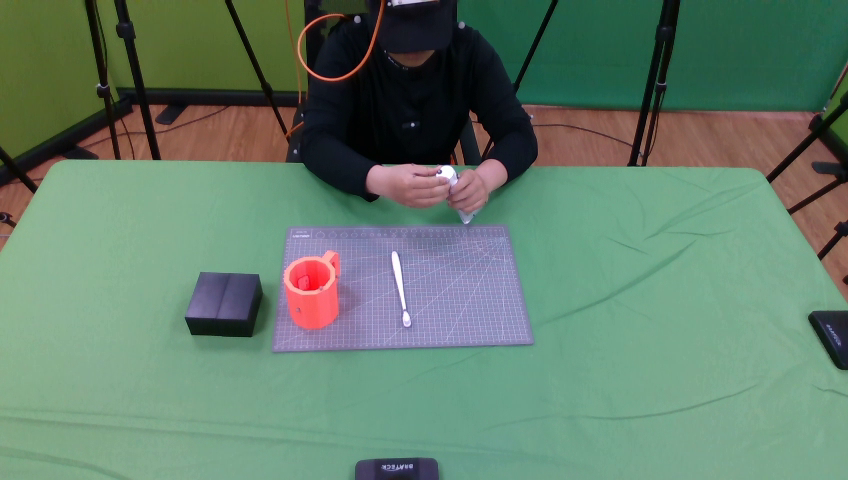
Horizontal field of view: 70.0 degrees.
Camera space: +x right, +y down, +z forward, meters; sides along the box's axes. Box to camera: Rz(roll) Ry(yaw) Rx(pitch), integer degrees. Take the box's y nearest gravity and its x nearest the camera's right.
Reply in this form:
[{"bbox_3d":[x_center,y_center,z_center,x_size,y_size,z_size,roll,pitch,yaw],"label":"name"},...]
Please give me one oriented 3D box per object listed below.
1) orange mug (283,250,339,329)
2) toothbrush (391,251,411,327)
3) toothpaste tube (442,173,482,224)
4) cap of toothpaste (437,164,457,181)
[{"bbox_3d":[-0.186,0.079,1.052,0.083,0.101,0.126,20,52,15],"label":"orange mug"},{"bbox_3d":[-0.044,0.085,1.112,0.014,0.017,0.180,-14,46,0],"label":"toothbrush"},{"bbox_3d":[0.072,-0.090,1.192,0.055,0.166,0.034,-39,55,-1],"label":"toothpaste tube"},{"bbox_3d":[0.042,-0.125,1.128,0.037,0.011,0.037,-11,59,18],"label":"cap of toothpaste"}]
